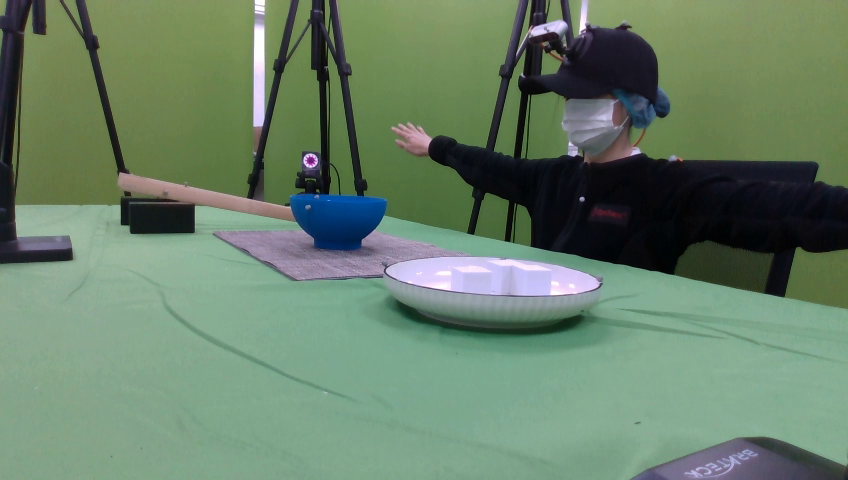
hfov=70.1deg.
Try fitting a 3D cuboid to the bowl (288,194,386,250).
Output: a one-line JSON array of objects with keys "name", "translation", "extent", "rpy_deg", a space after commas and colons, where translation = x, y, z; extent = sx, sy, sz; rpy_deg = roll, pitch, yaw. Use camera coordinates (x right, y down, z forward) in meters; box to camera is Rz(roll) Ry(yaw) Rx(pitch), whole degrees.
[{"name": "bowl", "translation": [-0.135, -0.028, 0.936], "extent": [0.151, 0.077, 0.151], "rpy_deg": [3, 7, 0]}]

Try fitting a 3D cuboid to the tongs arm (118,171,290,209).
[{"name": "tongs arm", "translation": [-0.388, -0.077, 1.181], "extent": [0.387, 0.026, 0.050], "rpy_deg": [12, -1, -23]}]

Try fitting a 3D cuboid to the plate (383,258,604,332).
[{"name": "plate", "translation": [0.064, 0.051, 0.582], "extent": [0.209, 0.038, 0.209], "rpy_deg": [3, 7, 0]}]

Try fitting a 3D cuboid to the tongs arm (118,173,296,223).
[{"name": "tongs arm", "translation": [-0.347, -0.066, 1.104], "extent": [0.390, 0.027, 0.028], "rpy_deg": [12, -4, -39]}]
